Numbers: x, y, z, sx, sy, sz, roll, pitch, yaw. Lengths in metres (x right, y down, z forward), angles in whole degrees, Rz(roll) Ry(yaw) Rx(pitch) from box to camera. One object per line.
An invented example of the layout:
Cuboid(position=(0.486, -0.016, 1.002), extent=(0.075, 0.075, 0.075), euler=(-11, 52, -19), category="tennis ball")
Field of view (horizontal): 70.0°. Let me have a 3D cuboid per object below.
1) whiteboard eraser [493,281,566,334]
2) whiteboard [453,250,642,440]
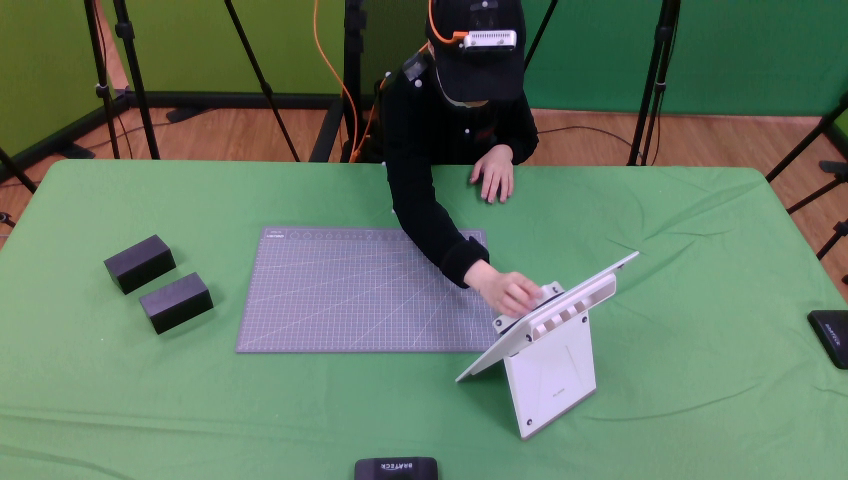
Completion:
Cuboid(position=(0.162, 0.108, 0.920), extent=(0.056, 0.113, 0.041), euler=(-14, 68, -56), category="whiteboard eraser")
Cuboid(position=(0.206, 0.175, 0.889), extent=(0.217, 0.306, 0.143), euler=(-24, 72, -25), category="whiteboard")
